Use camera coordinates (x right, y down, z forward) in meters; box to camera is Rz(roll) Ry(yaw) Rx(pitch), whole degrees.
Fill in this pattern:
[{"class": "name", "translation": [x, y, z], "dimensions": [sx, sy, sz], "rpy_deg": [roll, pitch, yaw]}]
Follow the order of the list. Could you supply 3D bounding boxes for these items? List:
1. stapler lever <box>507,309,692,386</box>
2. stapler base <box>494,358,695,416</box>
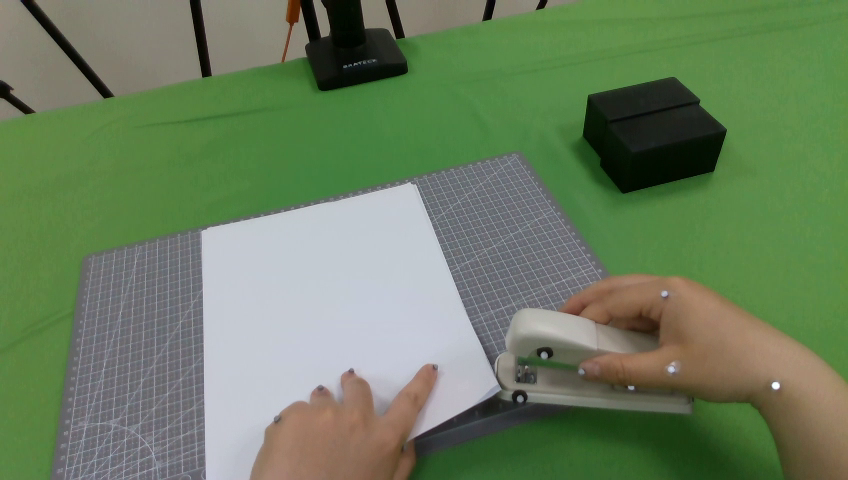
[{"class": "stapler lever", "translation": [0.114, 0.069, 0.397], "dimensions": [0.118, 0.040, 0.026], "rpy_deg": [4, 32, 9]}, {"class": "stapler base", "translation": [0.113, 0.092, 0.409], "dimensions": [0.130, 0.024, 0.041], "rpy_deg": [3, 31, 9]}]
